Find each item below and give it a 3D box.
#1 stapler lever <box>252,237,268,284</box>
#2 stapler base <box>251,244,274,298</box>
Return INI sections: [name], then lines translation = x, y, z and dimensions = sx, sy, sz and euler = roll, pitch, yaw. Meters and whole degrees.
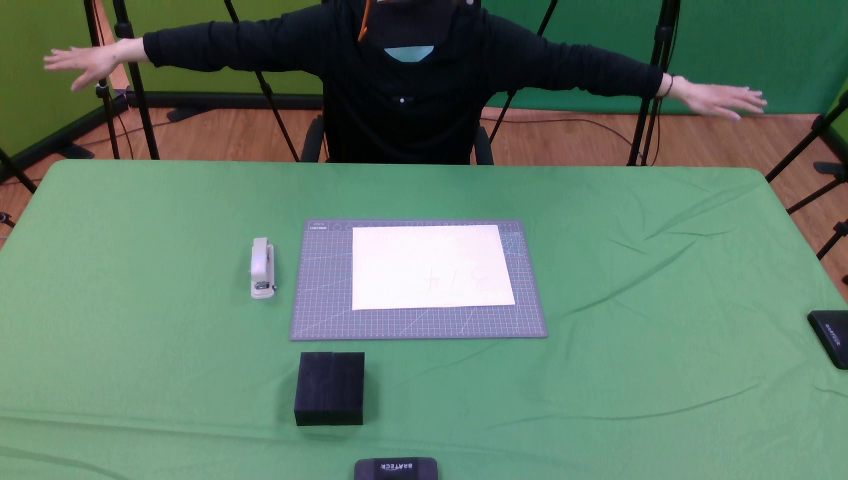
[stapler lever]
translation = -0.299, 0.031, 1.107
dimensions = 0.027, 0.040, 0.117
euler = -4, 45, -11
[stapler base]
translation = -0.300, 0.050, 1.124
dimensions = 0.041, 0.024, 0.129
euler = -4, 45, -11
